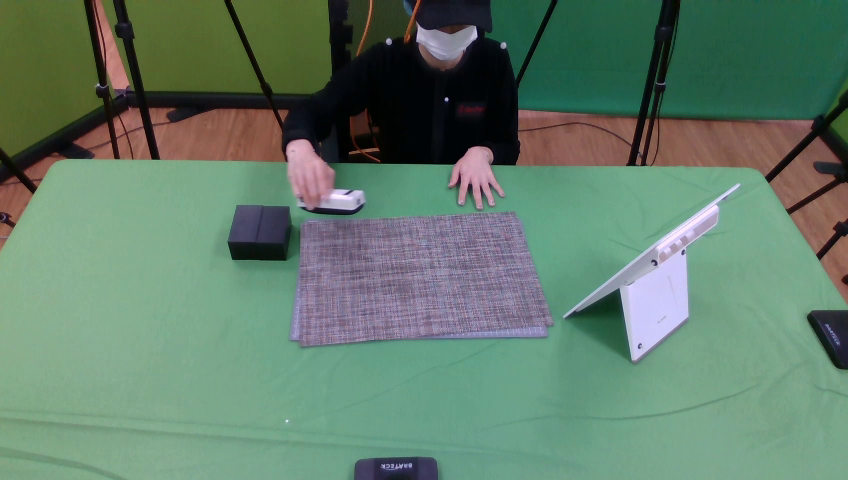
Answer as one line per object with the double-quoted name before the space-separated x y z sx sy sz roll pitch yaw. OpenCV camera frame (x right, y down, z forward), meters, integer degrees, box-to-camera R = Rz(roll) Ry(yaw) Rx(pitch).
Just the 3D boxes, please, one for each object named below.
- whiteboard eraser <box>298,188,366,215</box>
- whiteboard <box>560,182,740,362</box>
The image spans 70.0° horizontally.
"whiteboard eraser" -0.166 -0.070 1.088 0.112 0.042 0.055 4 24 16
"whiteboard" 0.406 0.075 1.001 0.217 0.306 0.143 -28 73 -28
